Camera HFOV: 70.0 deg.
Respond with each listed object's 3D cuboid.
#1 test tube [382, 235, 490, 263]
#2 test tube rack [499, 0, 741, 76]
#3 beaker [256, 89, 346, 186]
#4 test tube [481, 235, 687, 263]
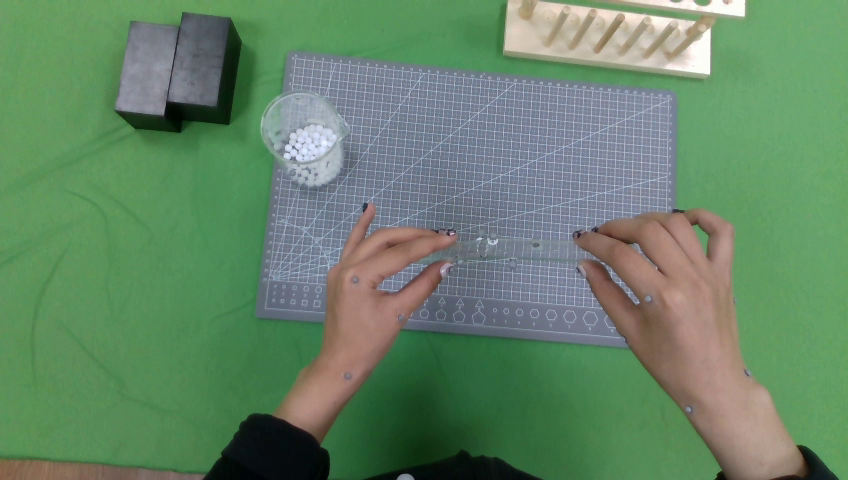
[{"bbox_3d":[0.004,0.009,0.515,0.017,0.150,0.017,2,85,-33],"label":"test tube"},{"bbox_3d":[0.213,-0.245,0.675,0.242,0.085,0.066,5,80,-3],"label":"test tube rack"},{"bbox_3d":[-0.119,-0.100,0.618,0.084,0.100,0.073,-3,81,-5],"label":"beaker"},{"bbox_3d":[0.118,0.006,0.448,0.150,0.017,0.017,2,80,2],"label":"test tube"}]
